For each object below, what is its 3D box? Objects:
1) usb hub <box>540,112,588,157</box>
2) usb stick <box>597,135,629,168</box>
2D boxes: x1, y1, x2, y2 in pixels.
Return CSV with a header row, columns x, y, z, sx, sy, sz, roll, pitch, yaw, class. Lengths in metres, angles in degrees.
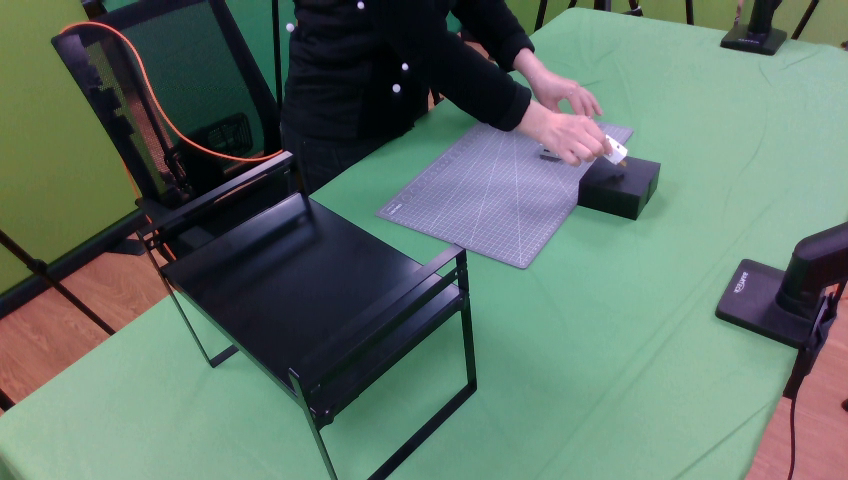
x,y,z,sx,sy,sz,roll,pitch,yaw,class
0.270,-0.203,1.164,0.049,0.025,0.125,20,48,26,usb hub
0.314,-0.143,0.988,0.059,0.027,0.021,40,49,-7,usb stick
